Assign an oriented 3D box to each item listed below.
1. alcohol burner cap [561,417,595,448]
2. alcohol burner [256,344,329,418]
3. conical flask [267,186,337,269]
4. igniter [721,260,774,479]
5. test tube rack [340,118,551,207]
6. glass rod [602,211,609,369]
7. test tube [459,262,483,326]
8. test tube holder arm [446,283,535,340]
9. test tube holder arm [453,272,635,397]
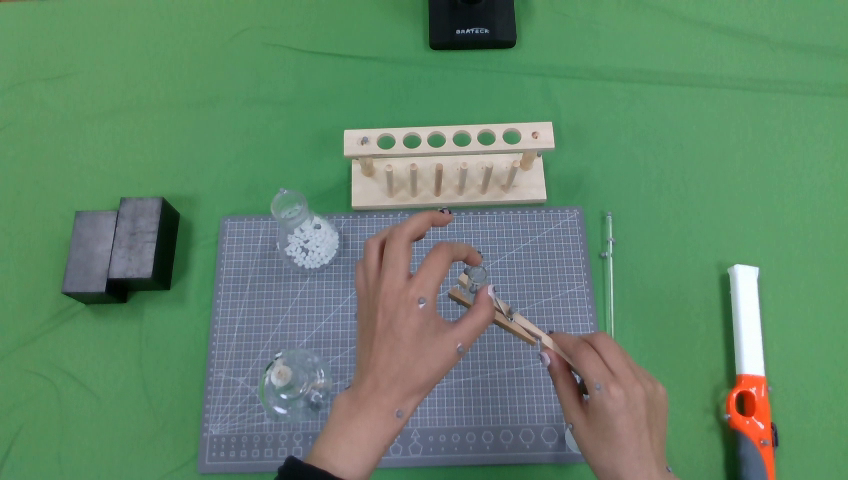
[{"bbox_3d":[0.166,0.204,0.646,0.034,0.048,0.033,0,69,1],"label":"alcohol burner cap"},{"bbox_3d":[-0.141,0.144,0.631,0.078,0.120,0.077,-1,69,2],"label":"alcohol burner"},{"bbox_3d":[-0.143,-0.019,0.683,0.075,0.122,0.075,0,70,1],"label":"conical flask"},{"bbox_3d":[0.356,0.156,0.672,0.057,0.025,0.275,9,71,-7],"label":"igniter"},{"bbox_3d":[0.026,-0.092,0.731,0.242,0.086,0.066,-2,70,0],"label":"test tube rack"},{"bbox_3d":[0.215,0.059,0.716,0.008,0.008,0.198,5,73,2],"label":"glass rod"},{"bbox_3d":[0.042,0.053,0.549,0.017,0.151,0.017,0,67,1],"label":"test tube"},{"bbox_3d":[0.059,0.063,0.531,0.087,0.015,0.010,27,80,14],"label":"test tube holder arm"},{"bbox_3d":[0.100,0.080,0.521,0.177,0.015,0.013,31,81,14],"label":"test tube holder arm"}]
